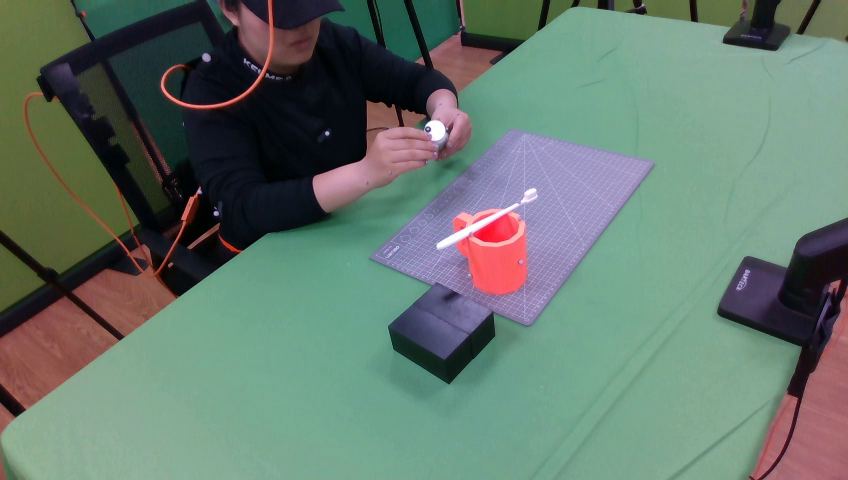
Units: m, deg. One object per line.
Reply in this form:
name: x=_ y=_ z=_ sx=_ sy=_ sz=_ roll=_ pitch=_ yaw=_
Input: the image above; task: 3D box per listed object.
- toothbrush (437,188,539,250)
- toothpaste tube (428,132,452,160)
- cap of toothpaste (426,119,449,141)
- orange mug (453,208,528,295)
toothbrush: x=0.093 y=-0.031 z=0.860 sx=0.182 sy=0.017 sz=0.014 roll=-28 pitch=52 yaw=-21
toothpaste tube: x=0.030 y=-0.178 z=1.074 sx=0.034 sy=0.165 sz=0.055 roll=43 pitch=91 yaw=5
cap of toothpaste: x=0.021 y=-0.180 z=0.994 sx=0.037 sy=0.011 sz=0.037 roll=0 pitch=86 yaw=-2
orange mug: x=0.095 y=0.009 z=0.894 sx=0.125 sy=0.101 sz=0.084 roll=32 pitch=55 yaw=33
